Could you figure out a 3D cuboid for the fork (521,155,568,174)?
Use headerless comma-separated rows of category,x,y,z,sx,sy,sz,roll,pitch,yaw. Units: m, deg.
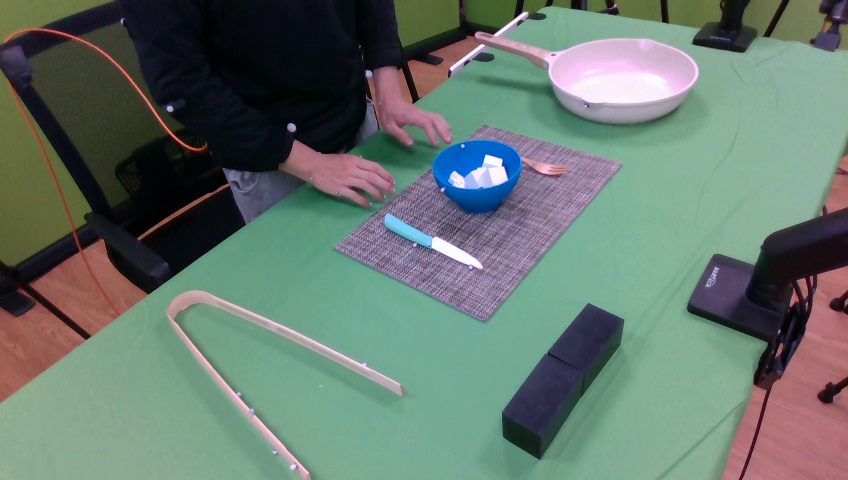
fork,0.168,-0.152,1.117,0.206,0.019,0.028,21,58,27

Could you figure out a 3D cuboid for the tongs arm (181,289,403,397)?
tongs arm,-0.192,0.135,0.834,0.385,0.028,0.028,18,49,26

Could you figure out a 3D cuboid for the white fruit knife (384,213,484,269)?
white fruit knife,0.011,0.003,0.962,0.206,0.016,0.027,26,61,31

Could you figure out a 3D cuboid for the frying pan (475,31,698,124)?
frying pan,0.320,-0.371,1.290,0.485,0.103,0.307,28,50,23

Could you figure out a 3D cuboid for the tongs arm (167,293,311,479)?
tongs arm,-0.245,0.176,0.787,0.381,0.026,0.051,29,51,36

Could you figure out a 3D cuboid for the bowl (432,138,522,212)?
bowl,0.091,-0.100,1.021,0.151,0.077,0.150,-4,41,4
